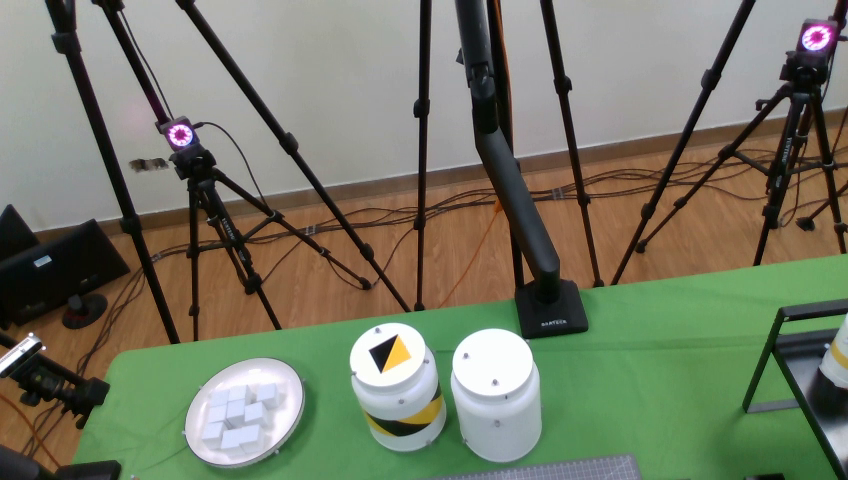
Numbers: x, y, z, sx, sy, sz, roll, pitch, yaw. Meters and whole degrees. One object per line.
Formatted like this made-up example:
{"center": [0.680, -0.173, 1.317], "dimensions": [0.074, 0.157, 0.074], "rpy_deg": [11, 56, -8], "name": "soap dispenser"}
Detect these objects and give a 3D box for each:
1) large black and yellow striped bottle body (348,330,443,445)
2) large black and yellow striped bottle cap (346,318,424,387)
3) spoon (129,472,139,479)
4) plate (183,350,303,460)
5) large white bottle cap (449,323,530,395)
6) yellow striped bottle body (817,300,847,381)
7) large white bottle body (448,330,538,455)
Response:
{"center": [-0.045, 0.225, 0.956], "dimensions": [0.130, 0.186, 0.129], "rpy_deg": [-6, 44, 6], "name": "large black and yellow striped bottle body"}
{"center": [-0.058, 0.165, 0.898], "dimensions": [0.115, 0.019, 0.114], "rpy_deg": [-5, 45, 5], "name": "large black and yellow striped bottle cap"}
{"center": [-0.448, 0.422, 0.872], "dimensions": [0.041, 0.022, 0.194], "rpy_deg": [28, 100, 37], "name": "spoon"}
{"center": [-0.309, 0.288, 1.055], "dimensions": [0.207, 0.039, 0.205], "rpy_deg": [-6, 45, 6], "name": "plate"}
{"center": [0.093, 0.167, 0.861], "dimensions": [0.115, 0.018, 0.113], "rpy_deg": [-6, 44, 6], "name": "large white bottle cap"}
{"center": [0.526, 0.113, 0.729], "dimensions": [0.063, 0.121, 0.062], "rpy_deg": [-6, 45, 6], "name": "yellow striped bottle body"}
{"center": [0.106, 0.227, 0.920], "dimensions": [0.130, 0.186, 0.129], "rpy_deg": [-6, 45, 6], "name": "large white bottle body"}
